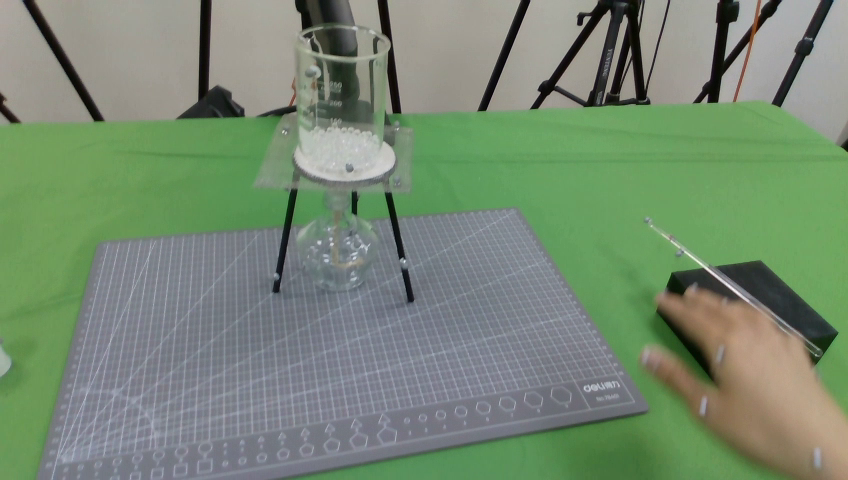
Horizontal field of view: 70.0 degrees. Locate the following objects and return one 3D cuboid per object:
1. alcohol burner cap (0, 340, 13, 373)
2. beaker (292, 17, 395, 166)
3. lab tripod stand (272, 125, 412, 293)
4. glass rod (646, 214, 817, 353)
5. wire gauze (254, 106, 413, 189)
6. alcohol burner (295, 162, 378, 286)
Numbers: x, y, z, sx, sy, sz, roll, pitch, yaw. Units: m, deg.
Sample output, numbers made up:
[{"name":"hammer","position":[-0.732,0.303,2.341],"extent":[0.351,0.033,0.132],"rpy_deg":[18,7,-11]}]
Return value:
[{"name":"alcohol burner cap","position":[-0.341,0.080,0.462],"extent":[0.034,0.048,0.033],"rpy_deg":[3,38,-2]},{"name":"beaker","position":[-0.068,-0.118,0.486],"extent":[0.083,0.101,0.074],"rpy_deg":[27,42,23]},{"name":"lab tripod stand","position":[-0.069,-0.027,0.556],"extent":[0.148,0.132,0.147],"rpy_deg":[5,37,-4]},{"name":"glass rod","position":[0.273,0.032,0.555],"extent":[0.008,0.008,0.197],"rpy_deg":[-14,43,-23]},{"name":"wire gauze","position":[-0.071,-0.079,0.515],"extent":[0.121,0.011,0.124],"rpy_deg":[4,40,-3]},{"name":"alcohol burner","position":[-0.081,-0.018,0.559],"extent":[0.078,0.120,0.077],"rpy_deg":[3,36,-2]}]
